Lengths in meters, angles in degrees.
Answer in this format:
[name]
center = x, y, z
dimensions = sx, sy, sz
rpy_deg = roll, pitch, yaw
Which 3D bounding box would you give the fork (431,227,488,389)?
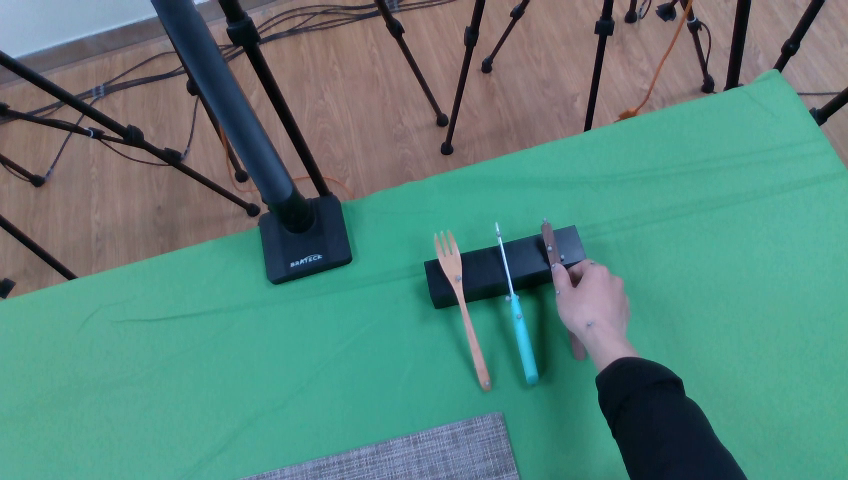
[fork]
center = 0.047, 0.085, 0.755
dimensions = 0.028, 0.018, 0.207
rpy_deg = -16, 85, -3

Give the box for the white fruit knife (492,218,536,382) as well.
[white fruit knife]
center = 0.108, 0.073, 0.751
dimensions = 0.016, 0.027, 0.206
rpy_deg = -13, 81, -2

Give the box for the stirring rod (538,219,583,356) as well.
[stirring rod]
center = 0.169, 0.060, 0.753
dimensions = 0.014, 0.006, 0.176
rpy_deg = -15, 91, 5
